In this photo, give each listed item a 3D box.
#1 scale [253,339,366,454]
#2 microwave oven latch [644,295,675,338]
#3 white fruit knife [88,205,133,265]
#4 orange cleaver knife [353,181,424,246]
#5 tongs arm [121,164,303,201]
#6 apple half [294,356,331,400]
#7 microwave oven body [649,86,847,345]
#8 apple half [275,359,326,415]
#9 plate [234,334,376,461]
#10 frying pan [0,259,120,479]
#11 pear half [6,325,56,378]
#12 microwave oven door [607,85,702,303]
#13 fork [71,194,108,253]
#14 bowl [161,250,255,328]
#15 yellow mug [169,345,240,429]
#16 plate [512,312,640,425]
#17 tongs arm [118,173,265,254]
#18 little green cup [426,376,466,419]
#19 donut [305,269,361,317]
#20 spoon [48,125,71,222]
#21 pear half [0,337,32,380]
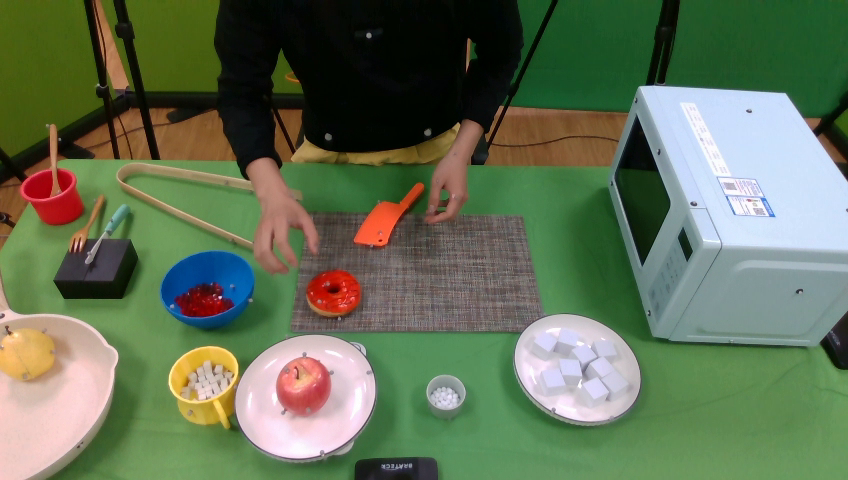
[{"bbox_3d":[-0.175,0.236,0.951,0.149,0.032,0.199,4,46,0],"label":"scale"},{"bbox_3d":[0.410,0.133,1.062,0.030,0.029,0.078,1,45,-2],"label":"microwave oven latch"},{"bbox_3d":[-0.584,-0.013,1.129,0.016,0.027,0.206,0,31,-5],"label":"white fruit knife"},{"bbox_3d":[-0.070,-0.059,1.246,0.077,0.012,0.210,18,50,21],"label":"orange cleaver knife"},{"bbox_3d":[-0.444,-0.113,1.267,0.384,0.026,0.050,12,51,8],"label":"tongs arm"},{"bbox_3d":[-0.160,0.202,0.902,0.081,0.082,0.033,36,57,27],"label":"apple half"},{"bbox_3d":[0.568,-0.053,1.118,0.326,0.261,0.439,2,45,-1],"label":"microwave oven body"},{"bbox_3d":[-0.186,0.222,0.882,0.080,0.075,0.053,38,58,25],"label":"apple half"},{"bbox_3d":[-0.175,0.235,0.907,0.209,0.038,0.208,2,46,-2],"label":"plate"},{"bbox_3d":[-0.647,0.164,0.936,0.307,0.103,0.485,-19,58,-22],"label":"frying pan"},{"bbox_3d":[-0.608,0.158,0.935,0.076,0.110,0.056,31,51,20],"label":"pear half"},{"bbox_3d":[0.423,-0.094,1.140,0.039,0.245,0.353,2,46,-1],"label":"microwave oven door"},{"bbox_3d":[-0.634,-0.036,1.158,0.028,0.019,0.206,-8,31,-8],"label":"fork"},{"bbox_3d":[-0.362,0.098,1.039,0.151,0.077,0.150,2,45,-2],"label":"bowl"},{"bbox_3d":[-0.322,0.231,0.922,0.100,0.064,0.130,-24,53,-25],"label":"yellow mug"},{"bbox_3d":[0.246,0.213,0.999,0.208,0.039,0.206,2,46,-2],"label":"plate"},{"bbox_3d":[-0.473,-0.053,1.212,0.386,0.028,0.028,23,57,18],"label":"tongs arm"},{"bbox_3d":[0.033,0.248,0.950,0.061,0.039,0.061,2,46,-2],"label":"little green cup"},{"bbox_3d":[-0.161,0.095,1.075,0.099,0.048,0.098,4,44,-3],"label":"donut"},{"bbox_3d":[-0.718,-0.131,1.188,0.041,0.021,0.193,-3,90,-7],"label":"spoon"},{"bbox_3d":[-0.631,0.184,0.921,0.070,0.088,0.031,29,49,19],"label":"pear half"}]
